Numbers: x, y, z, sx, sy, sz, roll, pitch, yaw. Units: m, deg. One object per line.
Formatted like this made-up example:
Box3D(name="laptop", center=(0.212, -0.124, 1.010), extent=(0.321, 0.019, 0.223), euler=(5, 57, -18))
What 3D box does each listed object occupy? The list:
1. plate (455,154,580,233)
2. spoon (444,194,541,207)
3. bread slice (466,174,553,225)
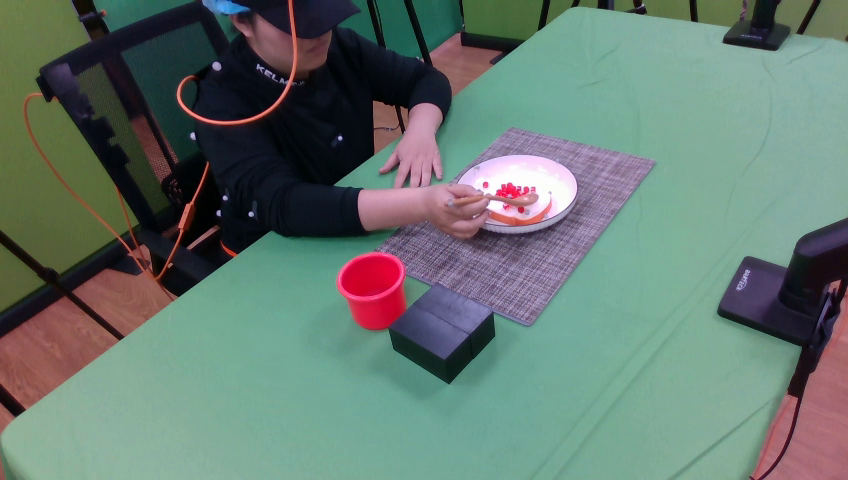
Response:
Box3D(name="plate", center=(0.159, -0.076, 1.028), extent=(0.209, 0.038, 0.208), euler=(-5, 40, 5))
Box3D(name="spoon", center=(0.106, -0.062, 0.923), extent=(0.195, 0.021, 0.041), euler=(-2, 13, -38))
Box3D(name="bread slice", center=(0.152, -0.067, 1.023), extent=(0.130, 0.019, 0.105), euler=(23, 50, 33))
